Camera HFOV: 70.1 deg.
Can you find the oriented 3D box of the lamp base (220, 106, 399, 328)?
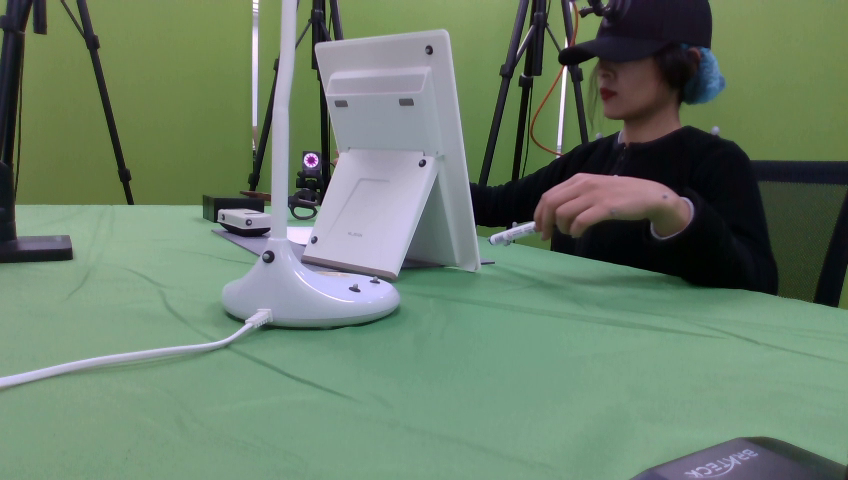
[{"bbox_3d":[-0.101,-0.023,0.531,0.160,0.180,0.179,4,10,10],"label":"lamp base"}]

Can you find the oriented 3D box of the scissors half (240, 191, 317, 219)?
[{"bbox_3d":[-0.317,-0.079,1.326,0.176,0.040,0.013,18,15,-31],"label":"scissors half"}]

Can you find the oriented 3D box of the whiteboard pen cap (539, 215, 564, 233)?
[{"bbox_3d":[0.158,-0.019,0.756,0.018,0.018,0.033,-2,-11,-30],"label":"whiteboard pen cap"}]

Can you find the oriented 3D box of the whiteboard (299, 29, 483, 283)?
[{"bbox_3d":[-0.074,-0.082,0.742,0.216,0.305,0.144,9,29,38],"label":"whiteboard"}]

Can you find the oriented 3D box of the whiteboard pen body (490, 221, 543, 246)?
[{"bbox_3d":[0.131,-0.010,0.807,0.017,0.017,0.140,-2,-9,-27],"label":"whiteboard pen body"}]

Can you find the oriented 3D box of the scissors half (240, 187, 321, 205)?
[{"bbox_3d":[-0.311,-0.097,1.319,0.176,0.040,0.012,-1,30,-25],"label":"scissors half"}]

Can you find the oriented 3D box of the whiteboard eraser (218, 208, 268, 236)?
[{"bbox_3d":[-0.309,-0.031,1.044,0.056,0.042,0.112,-3,9,-40],"label":"whiteboard eraser"}]
